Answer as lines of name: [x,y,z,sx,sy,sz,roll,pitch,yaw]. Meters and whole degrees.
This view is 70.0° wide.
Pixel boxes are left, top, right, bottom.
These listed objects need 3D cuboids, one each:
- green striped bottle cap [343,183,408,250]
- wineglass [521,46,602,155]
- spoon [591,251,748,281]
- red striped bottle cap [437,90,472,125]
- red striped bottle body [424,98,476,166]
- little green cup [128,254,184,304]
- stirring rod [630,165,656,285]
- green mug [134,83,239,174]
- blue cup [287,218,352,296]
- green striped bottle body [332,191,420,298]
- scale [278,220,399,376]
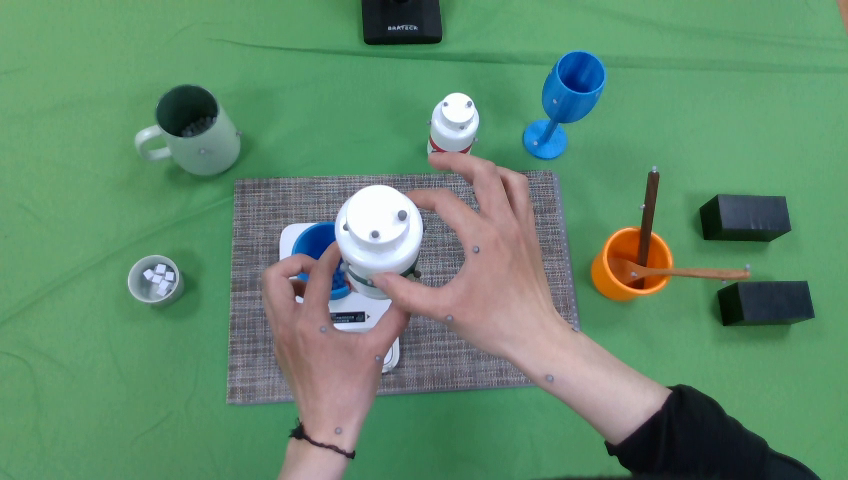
green striped bottle cap: [-0.033,-0.016,0.411,0.044,0.020,0.044,1,70,-3]
wineglass: [0.180,-0.182,0.814,0.074,0.173,0.073,1,72,-3]
spoon: [0.305,0.034,0.770,0.022,0.192,0.041,22,74,-43]
red striped bottle cap: [0.039,-0.169,0.771,0.044,0.018,0.044,1,69,-3]
red striped bottle body: [0.035,-0.153,0.822,0.063,0.120,0.062,1,72,-4]
little green cup: [-0.337,0.052,0.770,0.061,0.039,0.061,2,72,-5]
stirring rod: [0.283,-0.014,0.784,0.014,0.177,0.006,1,31,9]
green mug: [-0.315,-0.138,0.797,0.125,0.105,0.092,-24,76,-11]
blue cup: [-0.114,0.029,0.726,0.093,0.100,0.092,2,75,-6]
green striped bottle body: [-0.035,0.001,0.460,0.063,0.120,0.063,1,72,-3]
scale: [-0.112,0.069,0.783,0.149,0.032,0.199,-3,73,-5]
